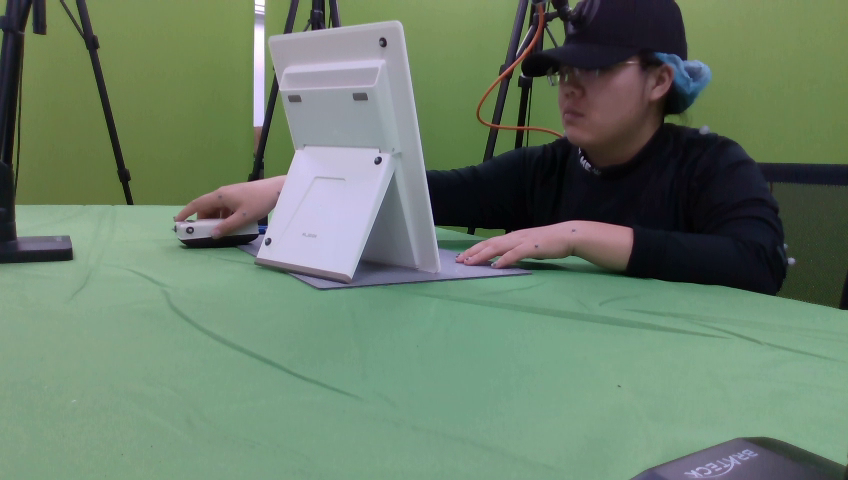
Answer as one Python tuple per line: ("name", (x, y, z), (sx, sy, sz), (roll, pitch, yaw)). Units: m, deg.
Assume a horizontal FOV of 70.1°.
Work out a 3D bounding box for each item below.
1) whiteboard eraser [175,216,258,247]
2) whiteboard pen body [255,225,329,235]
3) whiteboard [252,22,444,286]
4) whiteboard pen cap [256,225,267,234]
("whiteboard eraser", (-0.313, -0.013, 0.914), (0.113, 0.042, 0.055), (-6, 12, -32))
("whiteboard pen body", (-0.240, -0.019, 1.105), (0.141, 0.017, 0.017), (-2, 9, -34))
("whiteboard", (-0.125, -0.081, 0.715), (0.216, 0.305, 0.144), (9, 29, 36))
("whiteboard pen cap", (-0.289, -0.019, 1.071), (0.033, 0.018, 0.018), (-4, 10, -35))
